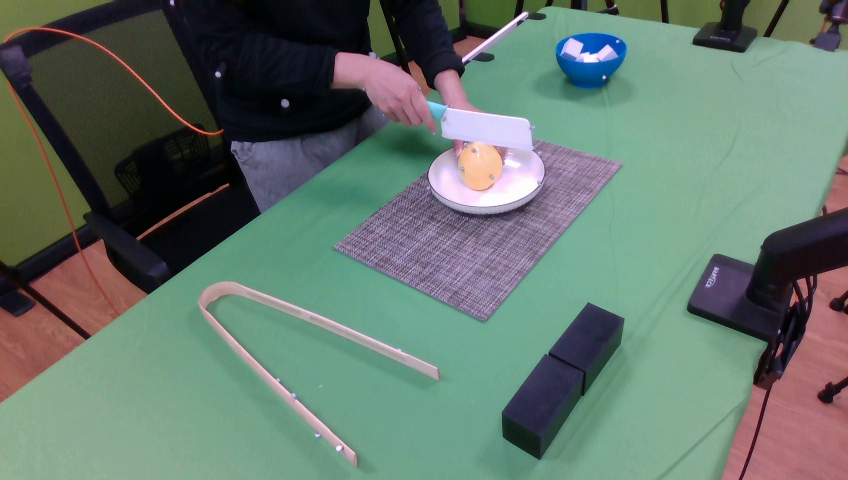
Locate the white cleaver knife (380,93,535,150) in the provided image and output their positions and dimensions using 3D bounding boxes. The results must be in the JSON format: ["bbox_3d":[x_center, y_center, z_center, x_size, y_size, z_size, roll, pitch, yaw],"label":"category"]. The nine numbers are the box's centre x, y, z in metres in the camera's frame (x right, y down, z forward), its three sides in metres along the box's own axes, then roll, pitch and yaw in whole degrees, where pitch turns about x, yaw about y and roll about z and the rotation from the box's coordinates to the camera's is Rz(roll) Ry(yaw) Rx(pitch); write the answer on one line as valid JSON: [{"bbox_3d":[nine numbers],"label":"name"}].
[{"bbox_3d":[0.048,-0.195,1.001,0.284,0.066,0.021,17,45,26],"label":"white cleaver knife"}]

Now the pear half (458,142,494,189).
[{"bbox_3d":[0.083,-0.121,1.025,0.070,0.088,0.031,18,47,25],"label":"pear half"}]

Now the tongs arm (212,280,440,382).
[{"bbox_3d":[-0.147,0.121,0.846,0.385,0.028,0.028,17,48,25],"label":"tongs arm"}]

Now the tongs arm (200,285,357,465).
[{"bbox_3d":[-0.199,0.162,0.797,0.381,0.026,0.051,28,50,35],"label":"tongs arm"}]

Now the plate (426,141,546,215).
[{"bbox_3d":[0.109,-0.107,1.059,0.207,0.039,0.206,-4,41,4],"label":"plate"}]

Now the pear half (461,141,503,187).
[{"bbox_3d":[0.101,-0.149,1.040,0.076,0.110,0.056,22,51,24],"label":"pear half"}]

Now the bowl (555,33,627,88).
[{"bbox_3d":[0.360,-0.384,1.318,0.151,0.077,0.150,-4,41,4],"label":"bowl"}]
